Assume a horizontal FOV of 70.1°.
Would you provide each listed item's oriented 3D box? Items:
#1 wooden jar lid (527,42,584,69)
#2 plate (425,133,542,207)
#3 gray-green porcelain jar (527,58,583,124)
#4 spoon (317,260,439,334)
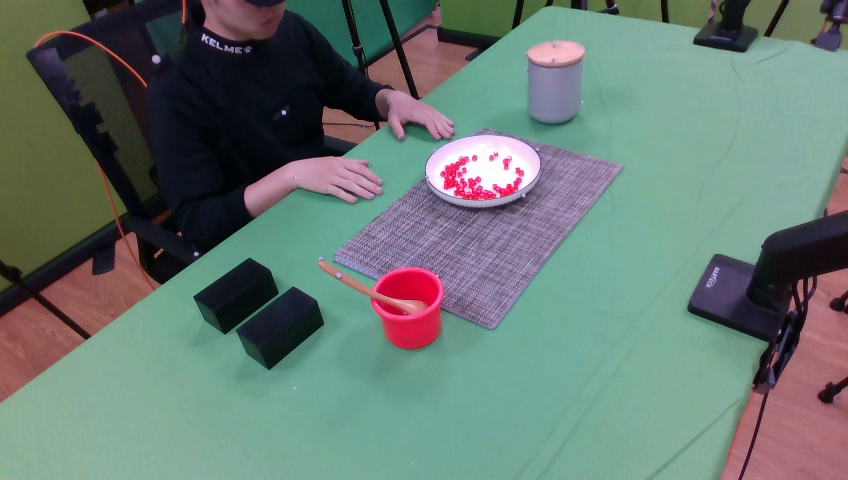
[{"bbox_3d":[0.253,-0.352,1.164,0.108,0.021,0.108,-5,39,5],"label":"wooden jar lid"},{"bbox_3d":[0.106,-0.122,1.079,0.207,0.039,0.206,-4,41,4],"label":"plate"},{"bbox_3d":[0.260,-0.305,1.207,0.106,0.127,0.105,-4,41,4],"label":"gray-green porcelain jar"},{"bbox_3d":[-0.056,0.074,0.788,0.195,0.021,0.041,27,42,-21],"label":"spoon"}]
